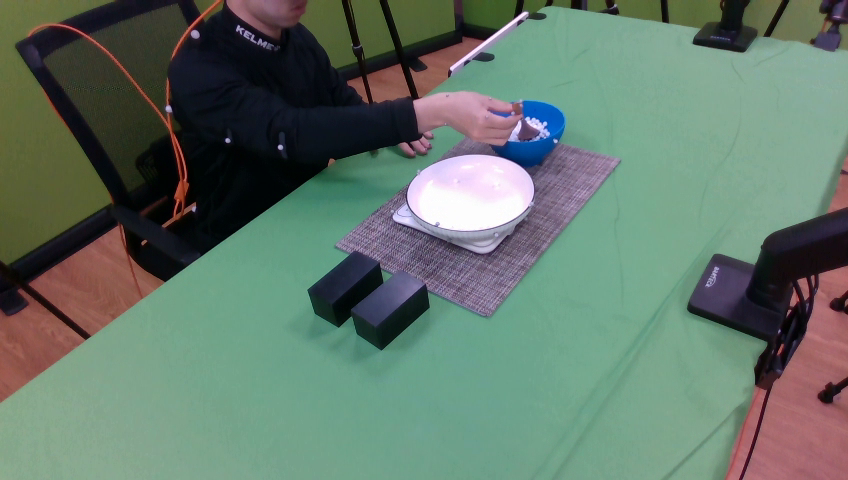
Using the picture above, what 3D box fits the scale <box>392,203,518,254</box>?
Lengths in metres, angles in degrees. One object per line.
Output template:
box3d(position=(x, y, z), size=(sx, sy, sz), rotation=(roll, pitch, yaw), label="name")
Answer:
box3d(position=(0.060, -0.050, 1.006), size=(0.199, 0.032, 0.149), rotation=(22, 48, 30), label="scale")

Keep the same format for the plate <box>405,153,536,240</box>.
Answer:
box3d(position=(0.075, -0.067, 0.973), size=(0.209, 0.038, 0.208), rotation=(-4, 41, 4), label="plate")

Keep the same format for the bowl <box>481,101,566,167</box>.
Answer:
box3d(position=(0.183, -0.186, 1.111), size=(0.151, 0.077, 0.150), rotation=(-4, 40, 4), label="bowl")

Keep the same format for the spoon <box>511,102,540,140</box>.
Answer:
box3d(position=(0.171, -0.206, 1.052), size=(0.041, 0.195, 0.021), rotation=(-11, 77, 17), label="spoon")
